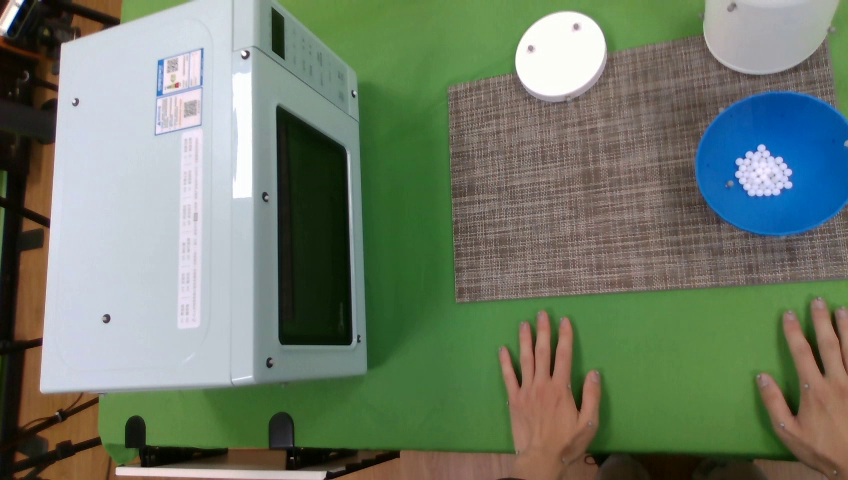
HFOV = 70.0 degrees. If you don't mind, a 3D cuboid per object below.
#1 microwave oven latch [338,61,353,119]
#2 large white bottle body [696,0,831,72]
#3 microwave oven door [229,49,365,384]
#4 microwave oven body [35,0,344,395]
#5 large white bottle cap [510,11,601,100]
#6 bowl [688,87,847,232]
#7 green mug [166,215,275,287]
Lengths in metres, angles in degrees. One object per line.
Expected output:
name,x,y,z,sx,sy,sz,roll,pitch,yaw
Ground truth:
microwave oven latch,-0.120,-0.211,0.861,0.030,0.030,0.079,-7,80,20
large white bottle body,0.352,-0.272,0.620,0.130,0.186,0.130,-5,75,21
microwave oven door,-0.147,-0.013,0.730,0.039,0.245,0.354,-8,79,21
microwave oven body,-0.283,-0.035,0.792,0.325,0.262,0.440,-7,79,20
large white bottle cap,0.168,-0.237,0.778,0.114,0.018,0.114,-4,79,21
bowl,0.361,-0.076,0.643,0.151,0.077,0.151,-4,80,22
green mug,-0.258,0.008,0.800,0.125,0.105,0.092,-20,78,11
